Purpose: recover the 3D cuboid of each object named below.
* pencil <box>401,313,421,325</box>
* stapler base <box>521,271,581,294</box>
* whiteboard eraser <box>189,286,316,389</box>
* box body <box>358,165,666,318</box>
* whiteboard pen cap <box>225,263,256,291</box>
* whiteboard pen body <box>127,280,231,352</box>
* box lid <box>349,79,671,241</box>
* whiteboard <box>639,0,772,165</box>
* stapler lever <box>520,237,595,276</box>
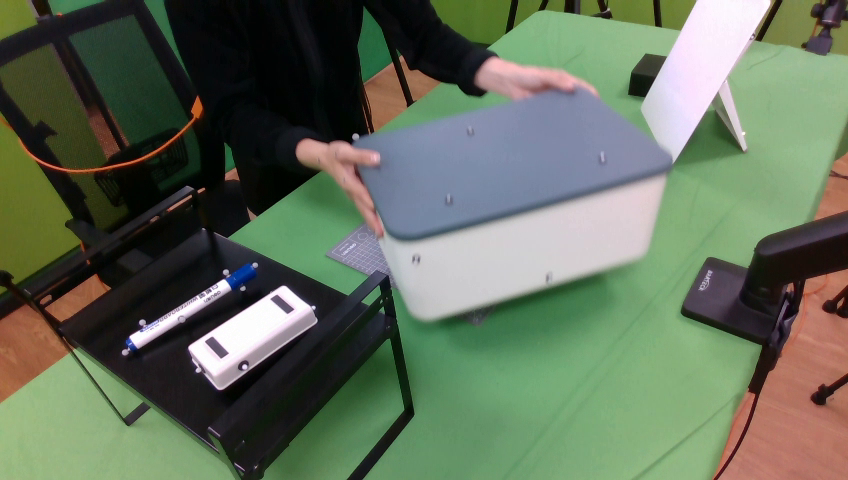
[{"bbox_3d":[0.056,0.082,0.872,0.195,0.012,0.012,-20,42,-20],"label":"pencil"},{"bbox_3d":[0.195,0.039,0.891,0.131,0.024,0.041,-22,43,-16],"label":"stapler base"},{"bbox_3d":[-0.166,0.096,0.593,0.113,0.042,0.055,-36,47,-29],"label":"whiteboard eraser"},{"bbox_3d":[0.109,-0.063,0.842,0.365,0.161,0.252,-16,38,-11],"label":"box body"},{"bbox_3d":[-0.204,0.041,0.668,0.033,0.018,0.018,-36,48,-22],"label":"whiteboard pen cap"},{"bbox_3d":[-0.248,0.072,0.645,0.141,0.017,0.017,-35,47,-23],"label":"whiteboard pen body"},{"bbox_3d":[0.102,-0.121,0.797,0.372,0.015,0.261,-17,40,-10],"label":"box lid"},{"bbox_3d":[0.543,-0.298,1.076,0.144,0.305,0.216,12,40,-7],"label":"whiteboard"},{"bbox_3d":[0.193,0.018,0.875,0.118,0.040,0.026,-21,43,-17],"label":"stapler lever"}]
